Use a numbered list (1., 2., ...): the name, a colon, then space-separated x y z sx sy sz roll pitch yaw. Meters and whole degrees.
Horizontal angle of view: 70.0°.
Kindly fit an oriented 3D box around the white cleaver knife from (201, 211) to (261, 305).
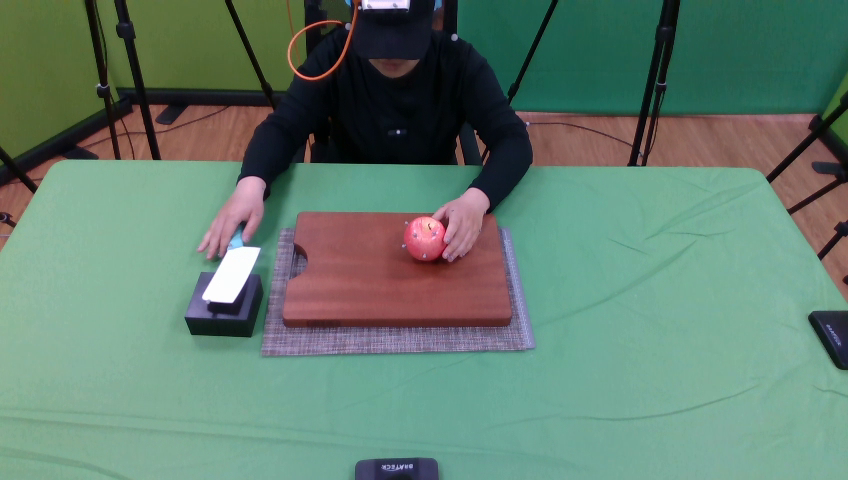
1. white cleaver knife: -0.336 0.029 1.111 0.066 0.021 0.285 8 34 -5

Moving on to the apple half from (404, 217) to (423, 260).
1. apple half: -0.022 -0.002 1.121 0.033 0.081 0.081 3 46 -7

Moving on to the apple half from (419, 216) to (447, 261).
1. apple half: 0.016 0.000 1.125 0.053 0.075 0.080 4 43 -7
